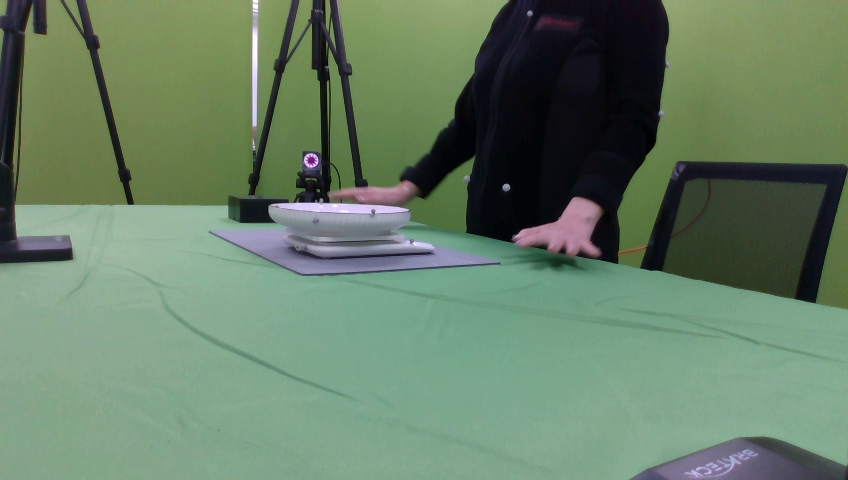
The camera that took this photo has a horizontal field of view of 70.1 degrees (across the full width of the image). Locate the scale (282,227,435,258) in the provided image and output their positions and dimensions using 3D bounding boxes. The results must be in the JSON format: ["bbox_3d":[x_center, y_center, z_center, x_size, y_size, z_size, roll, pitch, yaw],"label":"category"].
[{"bbox_3d":[-0.098,0.000,0.914,0.202,0.031,0.148,-2,9,-33],"label":"scale"}]

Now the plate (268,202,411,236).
[{"bbox_3d":[-0.123,-0.032,0.894,0.209,0.038,0.209,2,7,0],"label":"plate"}]
